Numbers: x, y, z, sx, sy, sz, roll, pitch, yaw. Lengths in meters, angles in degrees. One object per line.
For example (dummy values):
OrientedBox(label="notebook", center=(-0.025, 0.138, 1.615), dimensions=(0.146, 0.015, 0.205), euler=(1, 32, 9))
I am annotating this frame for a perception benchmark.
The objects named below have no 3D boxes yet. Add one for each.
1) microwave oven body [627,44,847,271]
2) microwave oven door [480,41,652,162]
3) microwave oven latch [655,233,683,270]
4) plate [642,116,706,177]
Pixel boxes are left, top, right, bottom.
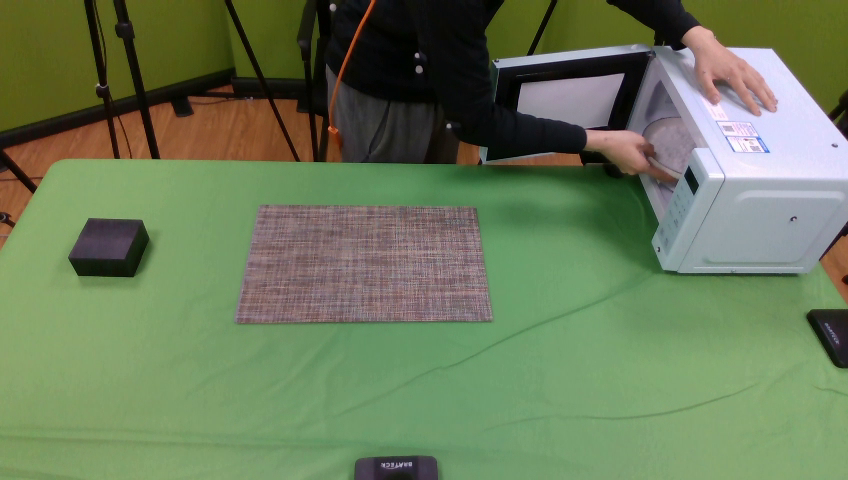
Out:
OrientedBox(label="microwave oven body", center=(0.619, -0.173, 1.234), dimensions=(0.326, 0.261, 0.439), euler=(0, 46, -3))
OrientedBox(label="microwave oven door", center=(0.306, -0.301, 1.329), dimensions=(0.356, 0.245, 0.039), euler=(-10, 47, -13))
OrientedBox(label="microwave oven latch", center=(0.473, 0.021, 1.176), dimensions=(0.030, 0.029, 0.078), euler=(2, 46, -1))
OrientedBox(label="plate", center=(0.559, -0.186, 1.271), dimensions=(0.209, 0.038, 0.208), euler=(3, 46, -3))
